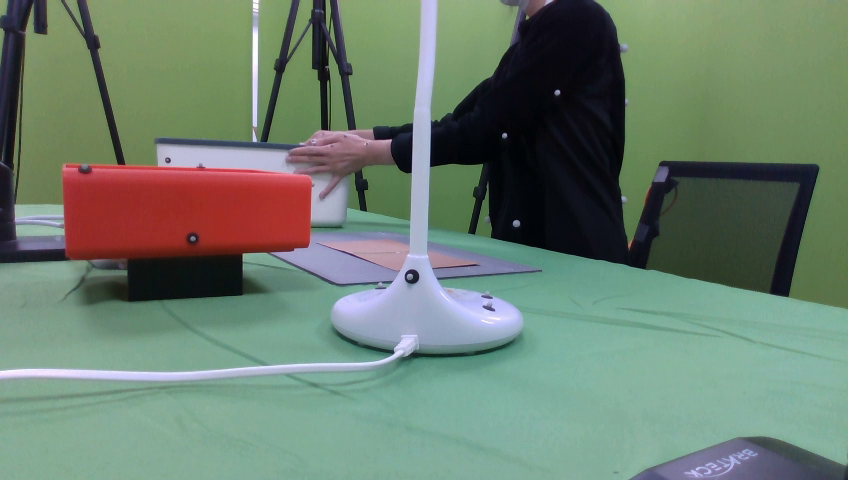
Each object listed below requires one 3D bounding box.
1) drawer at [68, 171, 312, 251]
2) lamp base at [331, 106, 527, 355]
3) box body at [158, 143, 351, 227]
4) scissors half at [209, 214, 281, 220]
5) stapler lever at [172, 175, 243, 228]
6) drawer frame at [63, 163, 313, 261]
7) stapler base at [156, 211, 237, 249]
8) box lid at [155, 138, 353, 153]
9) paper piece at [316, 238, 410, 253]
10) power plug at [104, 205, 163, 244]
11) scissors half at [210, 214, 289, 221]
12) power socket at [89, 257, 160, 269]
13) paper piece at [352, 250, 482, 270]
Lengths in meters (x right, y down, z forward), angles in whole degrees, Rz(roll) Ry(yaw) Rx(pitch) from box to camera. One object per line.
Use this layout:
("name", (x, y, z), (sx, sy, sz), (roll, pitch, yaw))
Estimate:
("drawer", (-0.247, -0.037, 0.629), (0.213, 0.073, 0.193), (-2, 9, -30))
("lamp base", (0.006, -0.012, 0.478), (0.161, 0.180, 0.179), (2, 10, 2))
("box body", (-0.353, -0.119, 1.265), (0.366, 0.160, 0.253), (0, 7, -21))
("scissors half", (-0.364, -0.045, 1.216), (0.174, 0.013, 0.040), (-1, 0, 26))
("stapler lever", (-0.217, -0.041, 0.618), (0.027, 0.040, 0.118), (19, 11, -2))
("drawer frame", (-0.248, -0.036, 0.626), (0.215, 0.082, 0.200), (-3, 9, -31))
("stapler base", (-0.227, -0.017, 0.624), (0.041, 0.024, 0.130), (19, 9, -2))
("box lid", (-0.348, -0.192, 1.256), (0.373, 0.015, 0.262), (0, 8, -20))
("paper piece", (-0.083, 0.008, 0.952), (0.136, 0.004, 0.134), (-2, 9, -31))
("power plug", (-0.390, -0.021, 0.815), (0.073, 0.052, 0.035), (-1, 7, -27))
("scissors half", (-0.357, -0.044, 1.235), (0.175, 0.013, 0.040), (1, -5, 9))
("power socket", (-0.409, 0.004, 0.793), (0.072, 0.032, 0.225), (-2, 8, -38))
("paper piece", (-0.013, 0.026, 0.841), (0.139, 0.008, 0.135), (-1, 11, -32))
